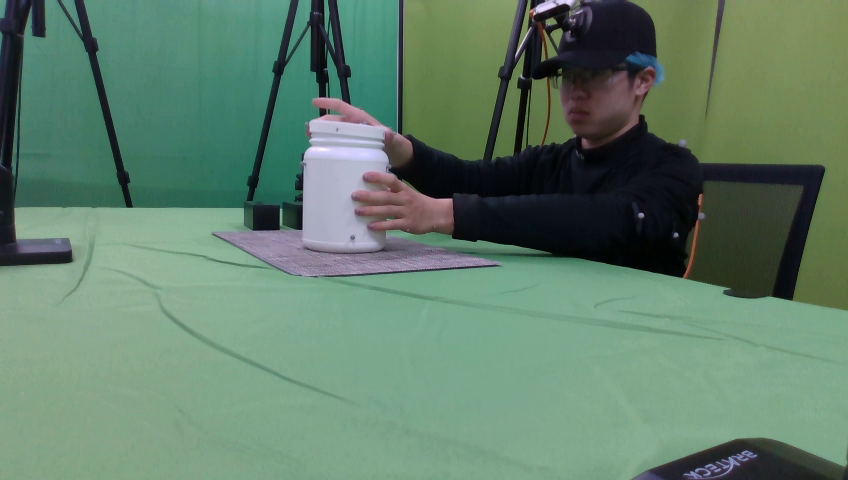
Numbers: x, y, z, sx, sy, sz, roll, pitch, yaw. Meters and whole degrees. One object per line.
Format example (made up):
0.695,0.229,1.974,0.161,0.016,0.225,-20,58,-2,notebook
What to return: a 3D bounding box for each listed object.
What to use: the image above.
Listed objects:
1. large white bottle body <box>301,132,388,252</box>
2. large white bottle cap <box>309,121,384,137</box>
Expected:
-0.122,-0.080,0.937,0.131,0.184,0.130,2,7,0,large white bottle body
-0.118,-0.169,0.925,0.115,0.018,0.115,4,8,0,large white bottle cap
